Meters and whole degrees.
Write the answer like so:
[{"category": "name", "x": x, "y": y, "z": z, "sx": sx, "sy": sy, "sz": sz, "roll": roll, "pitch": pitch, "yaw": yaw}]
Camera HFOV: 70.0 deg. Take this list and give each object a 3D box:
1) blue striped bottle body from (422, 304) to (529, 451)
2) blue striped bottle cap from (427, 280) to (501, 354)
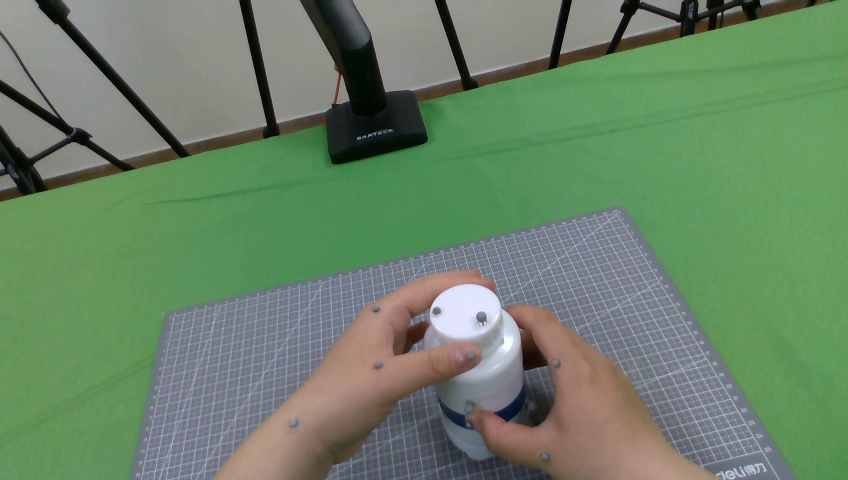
[{"category": "blue striped bottle body", "x": 0.035, "y": 0.084, "z": 0.403, "sx": 0.063, "sy": 0.122, "sz": 0.062, "roll": -7, "pitch": 44, "yaw": 7}, {"category": "blue striped bottle cap", "x": 0.024, "y": 0.046, "z": 0.367, "sx": 0.044, "sy": 0.021, "sz": 0.044, "roll": -6, "pitch": 46, "yaw": 6}]
